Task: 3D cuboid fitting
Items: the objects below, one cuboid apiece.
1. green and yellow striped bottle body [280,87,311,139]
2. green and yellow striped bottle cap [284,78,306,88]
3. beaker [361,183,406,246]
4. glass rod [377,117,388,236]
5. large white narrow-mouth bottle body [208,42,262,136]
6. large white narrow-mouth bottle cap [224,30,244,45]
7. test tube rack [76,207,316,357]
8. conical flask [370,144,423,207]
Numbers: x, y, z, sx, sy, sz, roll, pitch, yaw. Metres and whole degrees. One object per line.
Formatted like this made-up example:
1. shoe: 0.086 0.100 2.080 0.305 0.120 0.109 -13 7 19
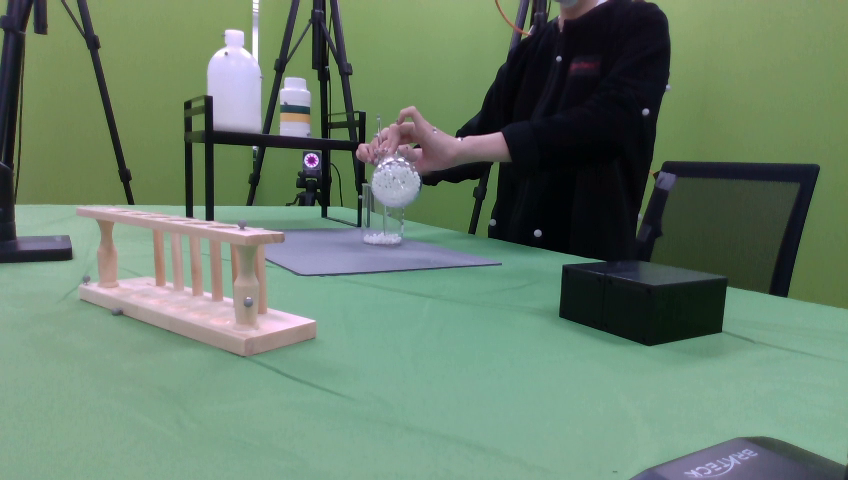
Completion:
1. green and yellow striped bottle body: -0.269 -0.274 1.266 0.063 0.119 0.063 3 7 0
2. green and yellow striped bottle cap: -0.268 -0.325 1.259 0.045 0.020 0.045 5 8 0
3. beaker: -0.067 -0.042 0.993 0.074 0.100 0.084 1 8 -8
4. glass rod: -0.070 -0.106 1.008 0.008 0.199 0.008 -4 0 0
5. large white narrow-mouth bottle body: -0.368 -0.304 1.181 0.102 0.194 0.101 2 9 0
6. large white narrow-mouth bottle cap: -0.365 -0.389 1.166 0.038 0.024 0.037 2 9 0
7. test tube rack: -0.196 0.023 0.500 0.241 0.085 0.067 8 9 36
8. conical flask: -0.046 -0.106 0.901 0.075 0.075 0.121 1 28 -10
